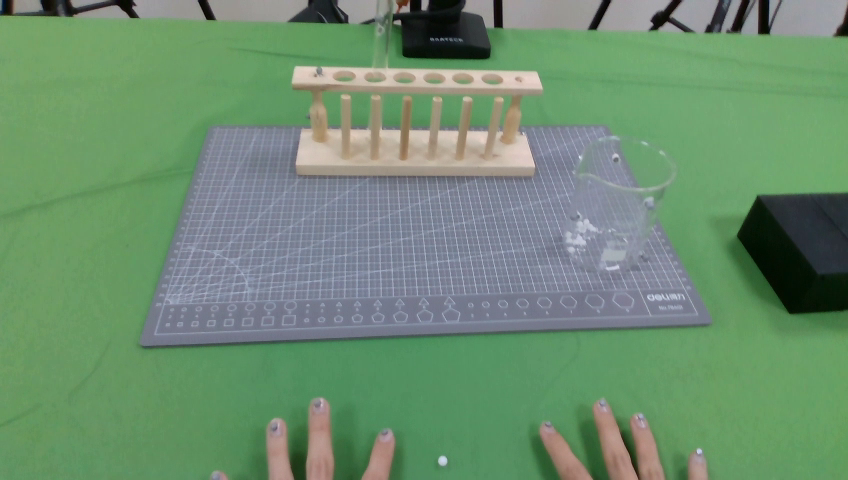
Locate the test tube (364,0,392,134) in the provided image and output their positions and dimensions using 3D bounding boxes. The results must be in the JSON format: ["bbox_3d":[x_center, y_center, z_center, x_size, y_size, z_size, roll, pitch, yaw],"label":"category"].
[{"bbox_3d":[-0.046,-0.166,0.587,0.017,0.151,0.017,6,42,-5],"label":"test tube"}]

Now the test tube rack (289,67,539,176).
[{"bbox_3d":[-0.010,-0.119,0.612,0.243,0.086,0.066,0,44,-5],"label":"test tube rack"}]

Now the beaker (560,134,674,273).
[{"bbox_3d":[0.157,-0.028,0.518,0.084,0.101,0.073,-7,44,-10],"label":"beaker"}]
